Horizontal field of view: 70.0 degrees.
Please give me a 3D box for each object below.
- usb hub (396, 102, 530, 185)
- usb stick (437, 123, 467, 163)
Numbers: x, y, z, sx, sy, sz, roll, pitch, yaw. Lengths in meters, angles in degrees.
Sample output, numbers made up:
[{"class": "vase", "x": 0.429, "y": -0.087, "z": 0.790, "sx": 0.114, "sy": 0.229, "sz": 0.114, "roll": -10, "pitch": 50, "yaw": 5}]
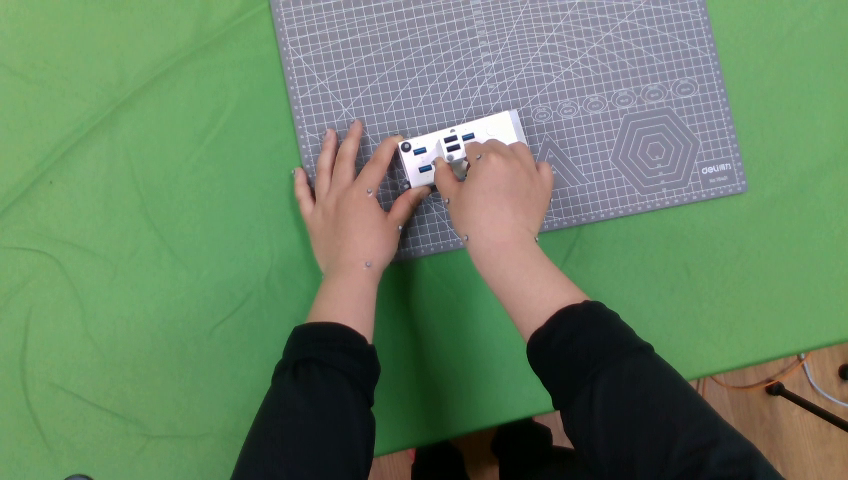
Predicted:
[{"class": "usb hub", "x": 0.038, "y": -0.097, "z": 0.605, "sx": 0.125, "sy": 0.025, "sz": 0.049, "roll": -17, "pitch": 88, "yaw": -5}, {"class": "usb stick", "x": 0.026, "y": -0.090, "z": 0.574, "sx": 0.021, "sy": 0.059, "sz": 0.027, "roll": -21, "pitch": 85, "yaw": -1}]
